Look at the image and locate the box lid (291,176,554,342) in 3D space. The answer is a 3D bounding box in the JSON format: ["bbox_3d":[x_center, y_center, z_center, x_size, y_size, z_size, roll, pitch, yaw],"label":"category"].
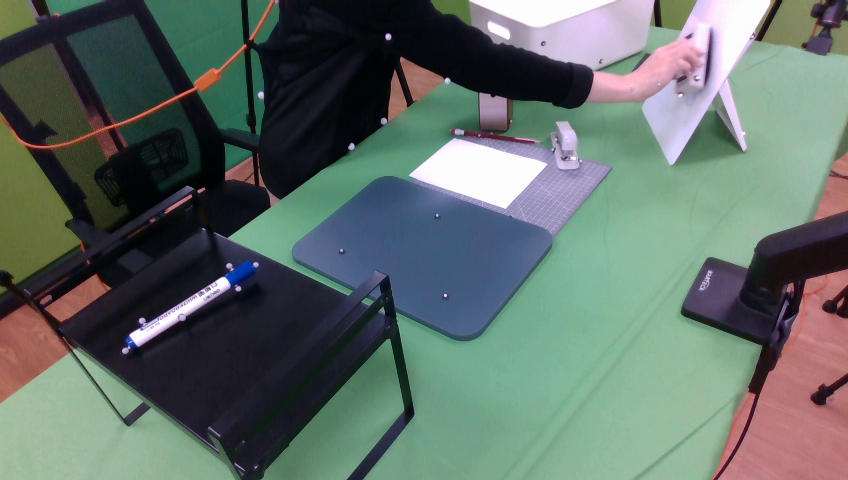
[{"bbox_3d":[-0.005,0.011,0.972,0.368,0.015,0.264,21,49,30],"label":"box lid"}]

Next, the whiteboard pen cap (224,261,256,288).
[{"bbox_3d":[-0.207,0.039,0.677,0.033,0.018,0.018,-35,47,-18],"label":"whiteboard pen cap"}]

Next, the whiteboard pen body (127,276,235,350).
[{"bbox_3d":[-0.250,0.070,0.649,0.141,0.017,0.017,-36,48,-25],"label":"whiteboard pen body"}]

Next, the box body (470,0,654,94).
[{"bbox_3d":[0.319,-0.498,1.405,0.365,0.161,0.252,-26,43,-21],"label":"box body"}]

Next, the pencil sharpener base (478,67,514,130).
[{"bbox_3d":[0.148,-0.286,1.225,0.061,0.107,0.076,5,42,15],"label":"pencil sharpener base"}]

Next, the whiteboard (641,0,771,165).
[{"bbox_3d":[0.544,-0.299,1.076,0.144,0.305,0.216,12,40,-6],"label":"whiteboard"}]

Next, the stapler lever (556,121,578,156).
[{"bbox_3d":[0.266,-0.198,1.128,0.027,0.040,0.117,0,38,3],"label":"stapler lever"}]

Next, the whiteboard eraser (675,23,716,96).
[{"bbox_3d":[0.462,-0.305,1.026,0.042,0.112,0.055,11,-4,-16],"label":"whiteboard eraser"}]

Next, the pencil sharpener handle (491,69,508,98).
[{"bbox_3d":[0.155,-0.330,1.254,0.036,0.068,0.030,17,44,3],"label":"pencil sharpener handle"}]

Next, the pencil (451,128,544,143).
[{"bbox_3d":[0.145,-0.206,1.204,0.193,0.012,0.012,12,44,21],"label":"pencil"}]

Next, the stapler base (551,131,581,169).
[{"bbox_3d":[0.268,-0.178,1.142,0.041,0.024,0.130,0,37,3],"label":"stapler base"}]
